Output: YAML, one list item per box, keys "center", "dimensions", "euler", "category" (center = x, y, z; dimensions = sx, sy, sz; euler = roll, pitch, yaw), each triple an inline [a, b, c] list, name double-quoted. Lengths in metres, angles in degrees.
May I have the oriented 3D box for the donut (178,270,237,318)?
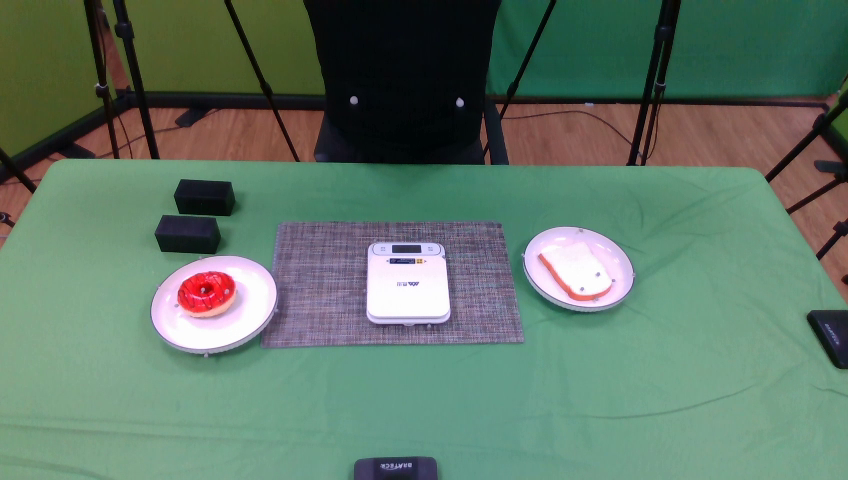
- center: [-0.375, 0.092, 1.053]
  dimensions: [0.099, 0.048, 0.098]
  euler: [1, 42, -1]
  category: "donut"

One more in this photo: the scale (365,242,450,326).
- center: [-0.032, 0.071, 1.113]
  dimensions: [0.149, 0.032, 0.199]
  euler: [1, 46, -4]
  category: "scale"

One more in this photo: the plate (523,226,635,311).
- center: [0.291, 0.058, 1.151]
  dimensions: [0.209, 0.038, 0.208]
  euler: [2, 45, -2]
  category: "plate"

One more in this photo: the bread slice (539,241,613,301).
- center: [0.297, 0.058, 1.153]
  dimensions: [0.105, 0.019, 0.130]
  euler: [-15, 50, -18]
  category: "bread slice"

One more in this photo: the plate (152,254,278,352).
- center: [-0.357, 0.111, 1.052]
  dimensions: [0.208, 0.039, 0.206]
  euler: [2, 46, -2]
  category: "plate"
